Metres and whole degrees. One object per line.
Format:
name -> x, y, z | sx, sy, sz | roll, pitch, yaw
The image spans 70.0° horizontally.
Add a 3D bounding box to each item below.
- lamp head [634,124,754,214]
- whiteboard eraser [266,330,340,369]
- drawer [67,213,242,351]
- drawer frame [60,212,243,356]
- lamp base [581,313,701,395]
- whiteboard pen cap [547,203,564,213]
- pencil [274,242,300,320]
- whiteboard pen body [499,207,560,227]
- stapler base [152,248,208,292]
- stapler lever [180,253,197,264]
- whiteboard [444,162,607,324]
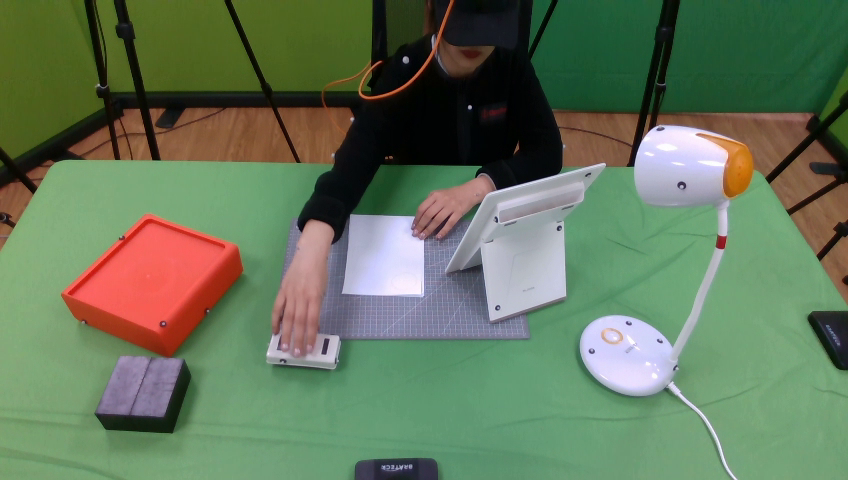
lamp head -> 0.351, -0.089, 0.776 | 0.112, 0.113, 0.122 | -30, 30, -28
whiteboard eraser -> -0.198, 0.181, 0.995 | 0.113, 0.042, 0.055 | 5, 45, 1
drawer -> -0.461, 0.068, 1.057 | 0.194, 0.073, 0.211 | 19, 48, 13
drawer frame -> -0.462, 0.070, 1.053 | 0.201, 0.083, 0.213 | 18, 48, 12
lamp base -> 0.361, 0.144, 0.973 | 0.178, 0.181, 0.160 | 34, 53, 23
whiteboard pen cap -> 0.276, -0.066, 1.275 | 0.033, 0.018, 0.018 | -18, 50, -15
pencil -> -0.249, 0.070, 1.115 | 0.012, 0.012, 0.193 | 5, 44, 1
whiteboard pen body -> 0.221, -0.051, 1.259 | 0.141, 0.017, 0.017 | -15, 49, -16
stapler base -> -0.443, 0.049, 1.100 | 0.130, 0.024, 0.041 | 31, 37, 30
stapler lever -> -0.441, 0.026, 1.086 | 0.117, 0.040, 0.027 | 29, 36, 31
whiteboard -> 0.185, 0.025, 1.029 | 0.217, 0.306, 0.143 | -15, 68, -18
